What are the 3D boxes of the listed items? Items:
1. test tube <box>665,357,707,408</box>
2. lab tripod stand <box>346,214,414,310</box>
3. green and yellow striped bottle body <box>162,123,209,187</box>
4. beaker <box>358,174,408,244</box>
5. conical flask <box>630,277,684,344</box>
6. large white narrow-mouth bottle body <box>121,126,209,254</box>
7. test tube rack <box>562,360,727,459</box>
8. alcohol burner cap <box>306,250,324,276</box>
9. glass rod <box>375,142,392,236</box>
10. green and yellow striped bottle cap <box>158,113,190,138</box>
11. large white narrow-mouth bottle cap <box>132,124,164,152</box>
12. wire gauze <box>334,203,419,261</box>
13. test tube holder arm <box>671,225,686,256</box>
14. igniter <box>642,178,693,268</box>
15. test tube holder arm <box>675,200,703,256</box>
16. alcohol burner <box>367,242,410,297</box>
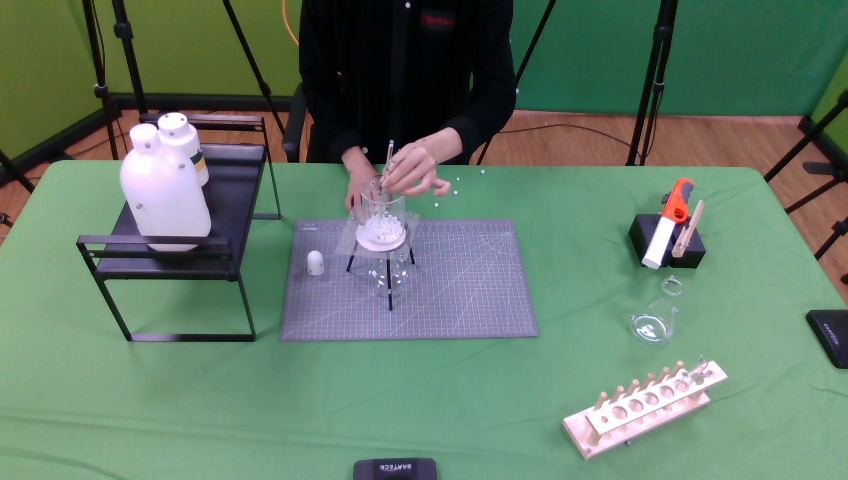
[{"bbox_3d":[0.386,0.215,0.905,0.017,0.151,0.017,1,52,-1],"label":"test tube"},{"bbox_3d":[-0.075,0.030,1.082,0.148,0.132,0.147,1,47,-1],"label":"lab tripod stand"},{"bbox_3d":[-0.395,-0.145,0.989,0.063,0.120,0.063,2,46,-2],"label":"green and yellow striped bottle body"},{"bbox_3d":[-0.066,-0.050,1.001,0.084,0.101,0.073,-18,49,-20],"label":"beaker"},{"bbox_3d":[0.408,0.117,1.045,0.075,0.122,0.075,2,46,-2],"label":"conical flask"},{"bbox_3d":[-0.377,-0.077,0.875,0.102,0.195,0.101,3,46,-3],"label":"large white narrow-mouth bottle body"},{"bbox_3d":[0.341,0.247,0.940,0.243,0.085,0.066,-16,49,-18],"label":"test tube rack"},{"bbox_3d":[-0.204,0.041,1.125,0.034,0.048,0.033,2,46,-2],"label":"alcohol burner cap"},{"bbox_3d":[-0.063,-0.073,0.944,0.008,0.200,0.008,6,47,-7],"label":"glass rod"},{"bbox_3d":[-0.393,-0.180,0.951,0.045,0.020,0.045,2,44,-2],"label":"green and yellow striped bottle cap"},{"bbox_3d":[-0.370,-0.137,0.813,0.038,0.024,0.037,3,46,-3],"label":"large white narrow-mouth bottle cap"},{"bbox_3d":[-0.079,-0.013,1.031,0.121,0.011,0.124,8,48,7],"label":"wire gauze"},{"bbox_3d":[0.494,0.001,1.166,0.010,0.015,0.087,1,36,42],"label":"test tube holder arm"},{"bbox_3d":[0.488,-0.042,1.205,0.057,0.025,0.276,30,51,11],"label":"igniter"},{"bbox_3d":[0.523,-0.025,1.190,0.013,0.015,0.178,1,36,41],"label":"test tube holder arm"},{"bbox_3d":[-0.064,0.047,1.080,0.078,0.120,0.077,1,47,-1],"label":"alcohol burner"}]
